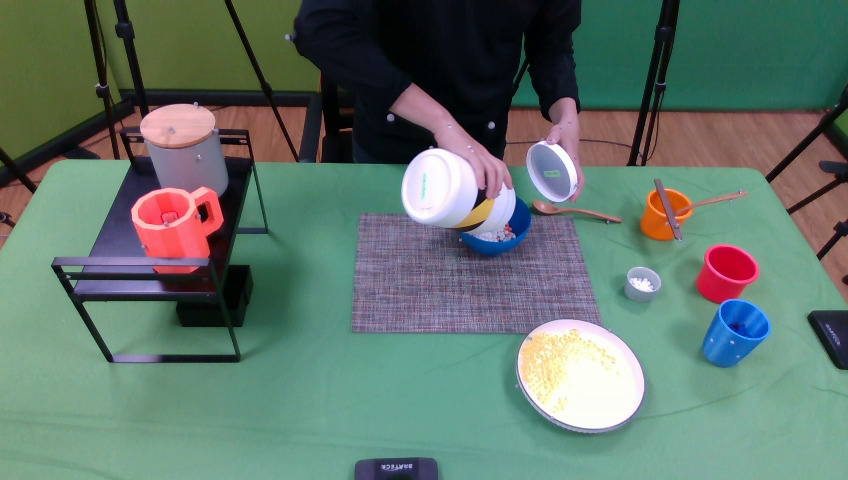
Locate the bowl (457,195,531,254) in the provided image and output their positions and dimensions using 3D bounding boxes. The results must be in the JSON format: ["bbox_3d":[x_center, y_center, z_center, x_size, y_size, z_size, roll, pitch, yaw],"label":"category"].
[{"bbox_3d":[0.129,-0.025,1.185,0.151,0.077,0.150,2,47,-2],"label":"bowl"}]

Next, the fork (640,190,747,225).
[{"bbox_3d":[0.533,-0.065,1.211,0.207,0.019,0.028,-22,28,39],"label":"fork"}]

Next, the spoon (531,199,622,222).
[{"bbox_3d":[0.322,-0.060,1.279,0.194,0.022,0.041,8,32,4],"label":"spoon"}]

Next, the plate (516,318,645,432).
[{"bbox_3d":[0.253,0.221,0.992,0.209,0.038,0.208,2,46,-2],"label":"plate"}]

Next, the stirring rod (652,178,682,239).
[{"bbox_3d":[0.481,-0.065,1.204,0.014,0.006,0.175,2,46,-1],"label":"stirring rod"}]

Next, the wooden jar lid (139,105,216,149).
[{"bbox_3d":[-0.372,-0.169,0.920,0.108,0.021,0.107,4,44,-4],"label":"wooden jar lid"}]

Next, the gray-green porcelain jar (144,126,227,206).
[{"bbox_3d":[-0.375,-0.126,0.967,0.106,0.127,0.105,2,46,-2],"label":"gray-green porcelain jar"}]

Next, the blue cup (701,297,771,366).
[{"bbox_3d":[0.519,0.162,1.025,0.093,0.101,0.092,3,45,-3],"label":"blue cup"}]

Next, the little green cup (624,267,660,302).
[{"bbox_3d":[0.406,0.084,1.135,0.061,0.039,0.061,3,46,-3],"label":"little green cup"}]

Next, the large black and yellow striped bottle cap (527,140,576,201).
[{"bbox_3d":[0.228,-0.125,1.090,0.019,0.115,0.114,-31,55,-15],"label":"large black and yellow striped bottle cap"}]

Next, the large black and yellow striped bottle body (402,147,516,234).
[{"bbox_3d":[0.066,-0.081,1.062,0.185,0.131,0.130,11,33,-46],"label":"large black and yellow striped bottle body"}]

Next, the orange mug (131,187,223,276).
[{"bbox_3d":[-0.354,-0.022,0.888,0.083,0.101,0.126,31,55,24],"label":"orange mug"}]
